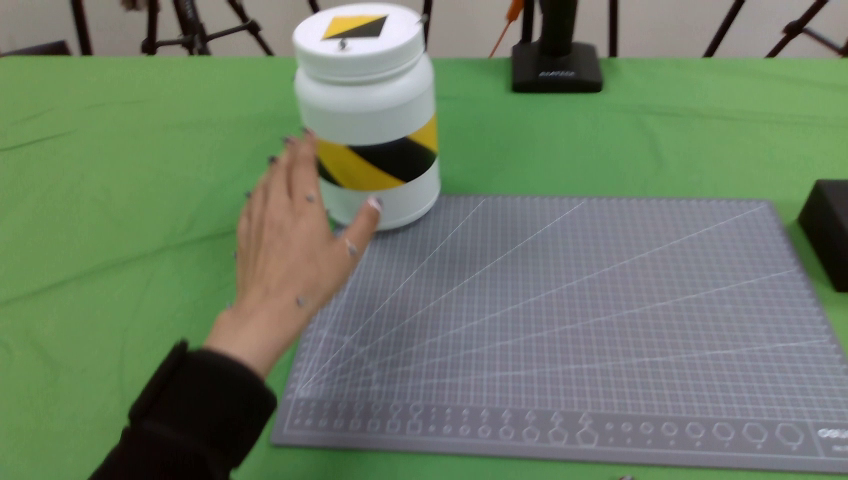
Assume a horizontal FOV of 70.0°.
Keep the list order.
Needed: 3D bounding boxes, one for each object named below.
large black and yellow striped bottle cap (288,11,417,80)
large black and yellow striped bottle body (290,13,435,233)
[{"bbox_3d":[-0.064,-0.176,0.542,0.115,0.019,0.114,-2,40,2],"label":"large black and yellow striped bottle cap"},{"bbox_3d":[-0.058,-0.114,0.599,0.131,0.186,0.129,-2,41,3],"label":"large black and yellow striped bottle body"}]
